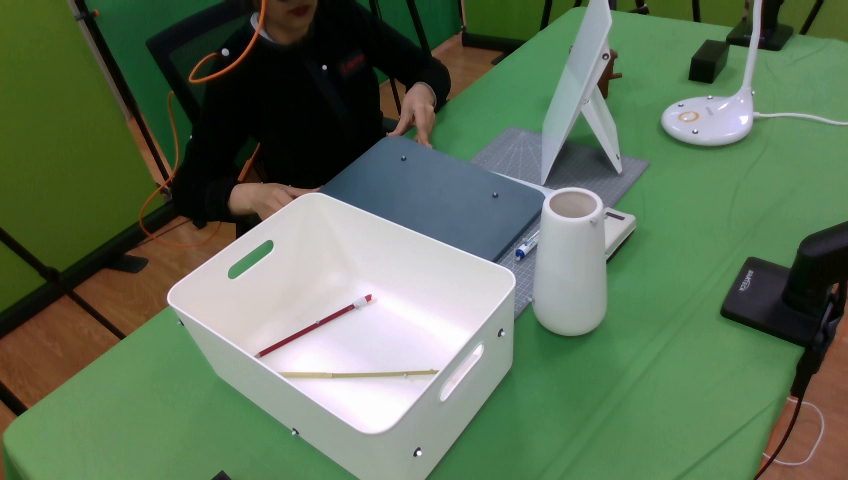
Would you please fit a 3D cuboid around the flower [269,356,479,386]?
[{"bbox_3d":[-0.086,0.173,0.785,0.361,0.038,0.044,-2,46,12],"label":"flower"}]

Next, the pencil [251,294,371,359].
[{"bbox_3d":[-0.162,0.125,0.865,0.195,0.012,0.012,-27,43,-18],"label":"pencil"}]

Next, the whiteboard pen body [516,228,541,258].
[{"bbox_3d":[0.192,-0.015,0.964,0.017,0.017,0.141,26,51,34],"label":"whiteboard pen body"}]

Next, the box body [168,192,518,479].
[{"bbox_3d":[-0.093,0.113,0.757,0.361,0.161,0.255,22,49,32],"label":"box body"}]

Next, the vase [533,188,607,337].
[{"bbox_3d":[0.187,0.033,0.771,0.098,0.201,0.097,-6,41,6],"label":"vase"}]

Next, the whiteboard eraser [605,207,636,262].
[{"bbox_3d":[0.272,-0.003,0.919,0.055,0.042,0.113,27,51,32],"label":"whiteboard eraser"}]

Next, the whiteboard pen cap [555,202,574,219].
[{"bbox_3d":[0.230,-0.048,0.994,0.018,0.018,0.033,26,54,34],"label":"whiteboard pen cap"}]

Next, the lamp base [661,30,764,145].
[{"bbox_3d":[0.535,-0.287,1.096,0.179,0.181,0.159,-10,40,-4],"label":"lamp base"}]

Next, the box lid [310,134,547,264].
[{"bbox_3d":[-0.005,-0.066,1.044,0.368,0.015,0.264,26,53,28],"label":"box lid"}]

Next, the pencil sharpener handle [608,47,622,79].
[{"bbox_3d":[0.395,-0.369,1.254,0.031,0.068,0.036,-10,32,-1],"label":"pencil sharpener handle"}]

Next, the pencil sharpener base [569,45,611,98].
[{"bbox_3d":[0.346,-0.352,1.262,0.077,0.107,0.061,-10,40,-1],"label":"pencil sharpener base"}]

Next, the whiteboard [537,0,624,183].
[{"bbox_3d":[0.316,-0.256,1.047,0.144,0.306,0.216,15,42,-1],"label":"whiteboard"}]
